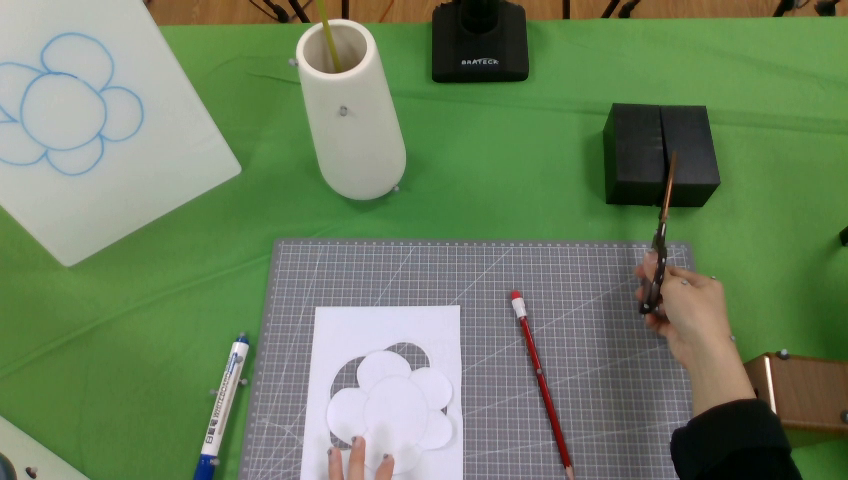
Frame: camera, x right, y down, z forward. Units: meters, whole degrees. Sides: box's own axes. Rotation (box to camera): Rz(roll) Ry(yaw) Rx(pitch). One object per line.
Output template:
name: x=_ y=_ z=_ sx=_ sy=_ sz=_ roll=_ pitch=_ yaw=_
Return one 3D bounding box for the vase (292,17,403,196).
vase: x=-0.076 y=-0.127 z=0.612 sx=0.098 sy=0.201 sz=0.097 roll=-1 pitch=64 yaw=3

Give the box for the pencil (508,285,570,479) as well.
pencil: x=0.112 y=0.134 z=0.589 sx=0.012 sy=0.012 sz=0.192 roll=-12 pitch=67 yaw=-3

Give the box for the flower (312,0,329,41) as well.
flower: x=-0.086 y=-0.175 z=0.543 sx=0.044 sy=0.365 sz=0.038 roll=-6 pitch=47 yaw=3

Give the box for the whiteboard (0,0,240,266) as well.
whiteboard: x=-0.369 y=-0.164 z=0.614 sx=0.217 sy=0.309 sz=0.142 roll=-31 pitch=49 yaw=-11

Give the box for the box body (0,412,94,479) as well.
box body: x=-0.495 y=0.221 z=0.486 sx=0.362 sy=0.161 sz=0.253 roll=26 pitch=69 yaw=13

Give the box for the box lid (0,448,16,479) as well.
box lid: x=-0.499 y=0.188 z=0.419 sx=0.370 sy=0.015 sz=0.262 roll=26 pitch=68 yaw=13

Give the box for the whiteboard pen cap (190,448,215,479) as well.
whiteboard pen cap: x=-0.203 y=0.209 z=0.559 sx=0.018 sy=0.018 sz=0.033 roll=6 pitch=62 yaw=5

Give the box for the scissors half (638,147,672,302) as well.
scissors half: x=0.232 y=-0.021 z=0.595 sx=0.013 sy=0.040 sz=0.174 roll=15 pitch=65 yaw=8

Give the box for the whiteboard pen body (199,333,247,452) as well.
whiteboard pen body: x=-0.196 y=0.157 z=0.585 sx=0.017 sy=0.017 sz=0.140 roll=7 pitch=64 yaw=6

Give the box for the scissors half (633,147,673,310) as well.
scissors half: x=0.235 y=-0.014 z=0.615 sx=0.012 sy=0.040 sz=0.174 roll=14 pitch=82 yaw=13

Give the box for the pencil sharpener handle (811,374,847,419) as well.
pencil sharpener handle: x=0.360 y=0.138 z=0.515 sx=0.030 sy=0.068 sz=0.035 roll=5 pitch=60 yaw=1

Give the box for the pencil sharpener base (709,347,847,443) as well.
pencil sharpener base: x=0.309 y=0.138 z=0.527 sx=0.077 sy=0.108 sz=0.061 roll=5 pitch=65 yaw=1
